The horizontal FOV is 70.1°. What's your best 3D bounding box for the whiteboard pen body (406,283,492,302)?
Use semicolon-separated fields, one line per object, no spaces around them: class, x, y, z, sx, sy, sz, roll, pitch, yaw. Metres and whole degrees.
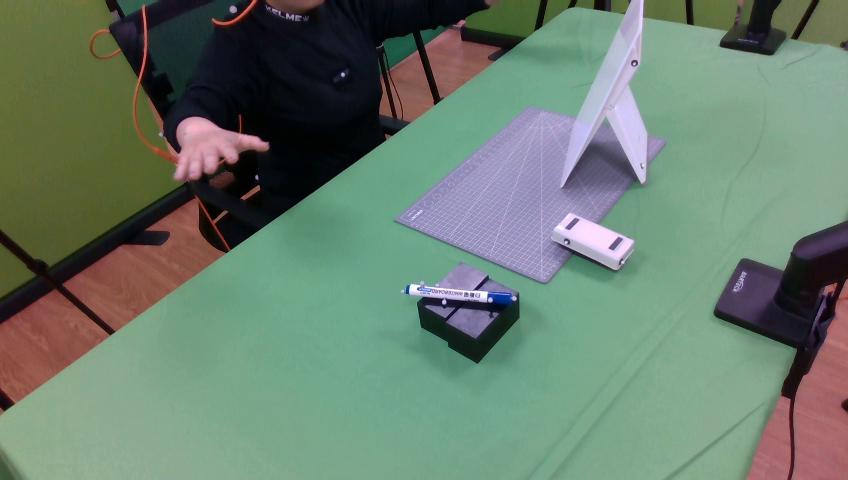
whiteboard pen body;0.044;0.072;0.812;0.140;0.017;0.017;4;42;14

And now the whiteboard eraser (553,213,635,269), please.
whiteboard eraser;0.257;0.003;0.918;0.112;0.042;0.056;27;49;30

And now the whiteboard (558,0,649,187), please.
whiteboard;0.361;-0.238;1.026;0.144;0.306;0.217;21;45;4

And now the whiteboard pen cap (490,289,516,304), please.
whiteboard pen cap;0.105;0.074;0.798;0.033;0.018;0.018;-8;37;-28
